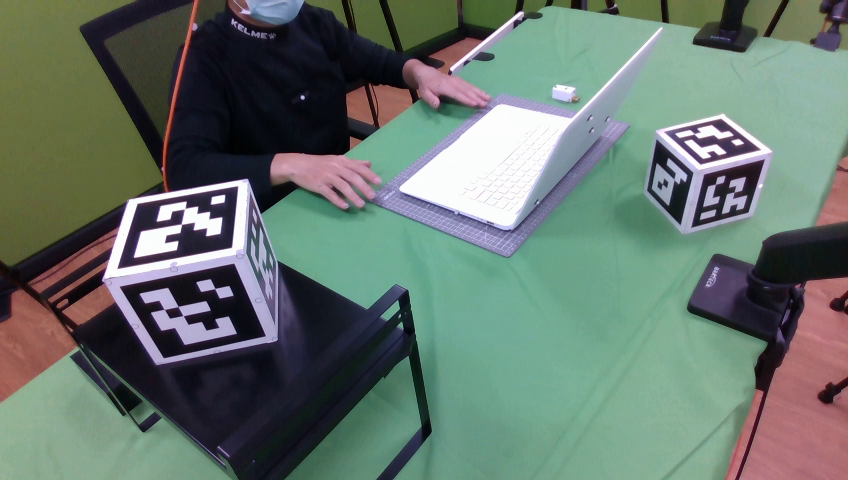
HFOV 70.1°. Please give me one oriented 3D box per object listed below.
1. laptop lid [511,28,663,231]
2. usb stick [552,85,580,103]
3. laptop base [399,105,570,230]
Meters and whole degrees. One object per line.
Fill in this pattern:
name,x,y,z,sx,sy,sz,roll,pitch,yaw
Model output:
laptop lid,0.265,-0.179,0.972,0.013,0.242,0.357,36,53,14
usb stick,0.303,-0.308,1.282,0.059,0.027,0.021,25,46,29
laptop base,0.149,-0.147,1.123,0.233,0.023,0.355,20,47,32
